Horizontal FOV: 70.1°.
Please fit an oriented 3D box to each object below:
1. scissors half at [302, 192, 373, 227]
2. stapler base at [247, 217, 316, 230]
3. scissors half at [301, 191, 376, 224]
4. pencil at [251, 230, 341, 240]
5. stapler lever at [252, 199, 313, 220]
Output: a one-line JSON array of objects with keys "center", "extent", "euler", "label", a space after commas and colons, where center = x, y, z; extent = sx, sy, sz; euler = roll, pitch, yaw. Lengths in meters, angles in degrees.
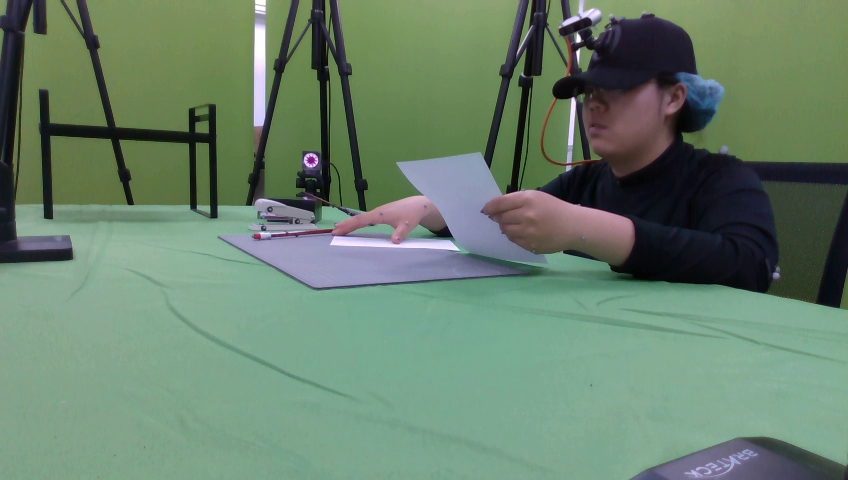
[{"center": [-0.191, -0.069, 1.313], "extent": [0.175, 0.013, 0.040], "euler": [26, 14, 7], "label": "scissors half"}, {"center": [-0.276, -0.033, 1.172], "extent": [0.131, 0.024, 0.041], "euler": [0, 10, -37], "label": "stapler base"}, {"center": [-0.189, -0.073, 1.333], "extent": [0.175, 0.013, 0.040], "euler": [23, 9, -10], "label": "scissors half"}, {"center": [-0.215, -0.011, 1.049], "extent": [0.012, 0.012, 0.195], "euler": [9, 9, 39], "label": "pencil"}, {"center": [-0.273, -0.058, 1.170], "extent": [0.119, 0.040, 0.026], "euler": [0, 10, -37], "label": "stapler lever"}]
